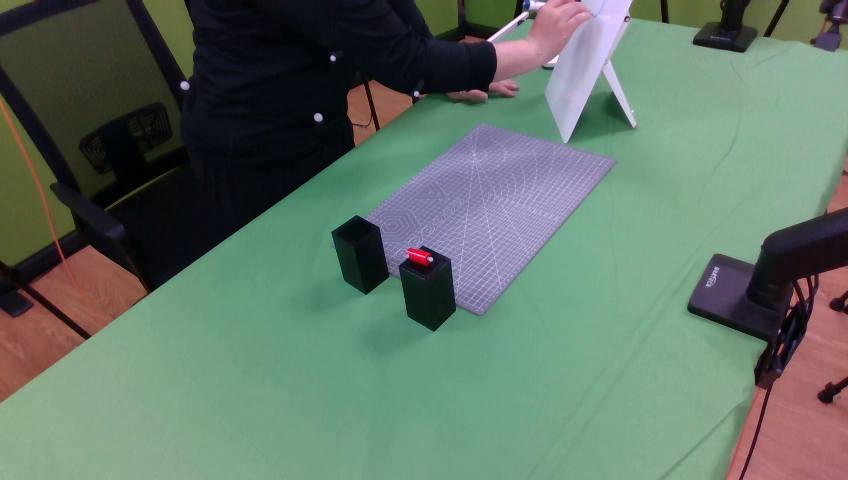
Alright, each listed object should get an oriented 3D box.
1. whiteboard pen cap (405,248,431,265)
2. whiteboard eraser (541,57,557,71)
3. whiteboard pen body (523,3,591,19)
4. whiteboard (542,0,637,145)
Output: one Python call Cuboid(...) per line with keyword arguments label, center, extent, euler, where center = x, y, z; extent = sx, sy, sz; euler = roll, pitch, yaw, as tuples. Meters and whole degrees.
Cuboid(label="whiteboard pen cap", center=(-0.008, 0.021, 0.794), extent=(0.032, 0.017, 0.017), euler=(16, 45, 28))
Cuboid(label="whiteboard eraser", center=(0.324, -0.412, 1.408), extent=(0.101, 0.019, 0.041), euler=(2, 43, 11))
Cuboid(label="whiteboard pen body", center=(0.246, -0.419, 1.108), extent=(0.141, 0.017, 0.016), euler=(0, 37, -19))
Cuboid(label="whiteboard", center=(0.366, -0.351, 1.160), extent=(0.144, 0.305, 0.216), euler=(10, 39, -10))
